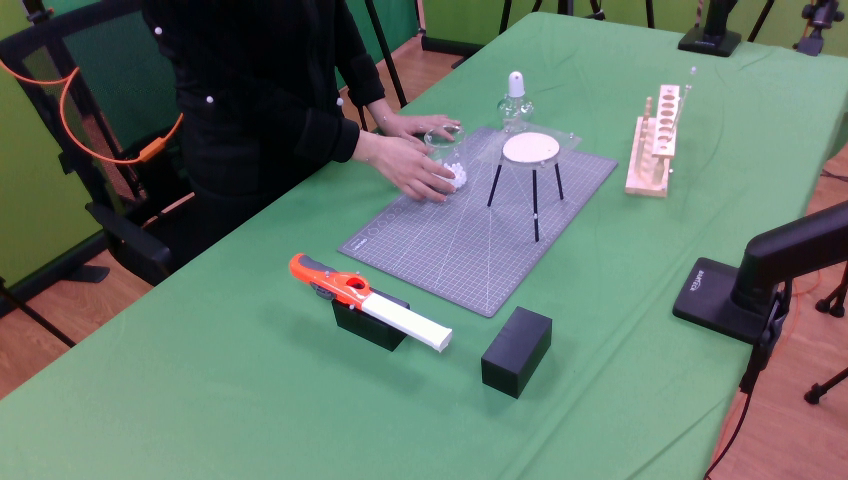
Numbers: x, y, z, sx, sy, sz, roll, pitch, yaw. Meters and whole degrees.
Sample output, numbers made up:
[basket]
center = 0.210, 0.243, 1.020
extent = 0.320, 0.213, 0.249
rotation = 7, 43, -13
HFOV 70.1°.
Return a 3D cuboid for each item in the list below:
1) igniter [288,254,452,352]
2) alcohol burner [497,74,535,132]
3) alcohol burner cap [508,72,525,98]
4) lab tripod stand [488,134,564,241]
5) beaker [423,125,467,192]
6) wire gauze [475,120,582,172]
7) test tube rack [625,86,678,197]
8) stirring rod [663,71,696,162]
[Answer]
[igniter]
center = -0.083, 0.079, 0.818
extent = 0.274, 0.025, 0.057
rotation = 23, 46, 27
[alcohol burner]
center = 0.184, -0.278, 1.210
extent = 0.078, 0.119, 0.077
rotation = -3, 42, 3
[alcohol burner cap]
center = 0.181, -0.306, 1.186
extent = 0.034, 0.048, 0.033
rotation = -7, 39, 6
[lab tripod stand]
center = 0.168, -0.092, 0.972
extent = 0.148, 0.132, 0.147
rotation = -5, 41, 5
[beaker]
center = 0.042, -0.144, 1.078
extent = 0.073, 0.100, 0.084
rotation = 28, 51, 33
[wire gauze]
center = 0.161, -0.143, 0.928
extent = 0.120, 0.011, 0.125
rotation = 20, 47, 30
[test tube rack]
center = 0.412, -0.184, 1.088
extent = 0.066, 0.085, 0.242
rotation = 9, 43, 18
[stirring rod]
center = 0.410, -0.195, 0.981
extent = 0.014, 0.177, 0.006
rotation = 11, 50, 13
